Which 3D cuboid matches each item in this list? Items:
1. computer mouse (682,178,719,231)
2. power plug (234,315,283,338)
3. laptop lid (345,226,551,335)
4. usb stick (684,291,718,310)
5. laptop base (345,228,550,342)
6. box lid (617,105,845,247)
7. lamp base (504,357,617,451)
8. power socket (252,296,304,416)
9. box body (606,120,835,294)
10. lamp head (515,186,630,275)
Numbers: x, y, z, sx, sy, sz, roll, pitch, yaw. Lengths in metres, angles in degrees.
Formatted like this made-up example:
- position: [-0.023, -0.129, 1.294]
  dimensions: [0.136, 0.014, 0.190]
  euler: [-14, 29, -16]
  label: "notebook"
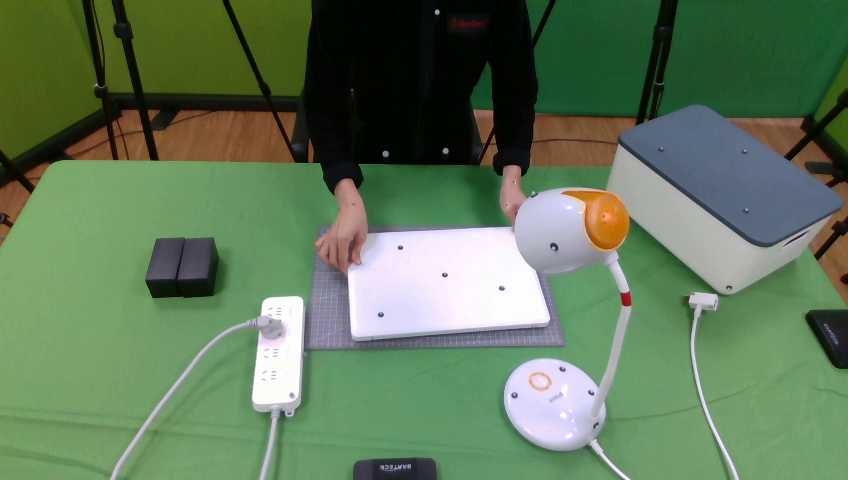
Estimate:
- position: [0.596, -0.078, 1.290]
  dimensions: [0.117, 0.041, 0.062]
  euler: [56, 45, -7]
  label: "computer mouse"
- position: [-0.270, 0.142, 1.000]
  dimensions: [0.072, 0.053, 0.035]
  euler: [6, 47, 2]
  label: "power plug"
- position: [0.036, 0.066, 1.112]
  dimensions: [0.357, 0.013, 0.240]
  euler: [-2, 48, -7]
  label: "laptop lid"
- position: [0.509, 0.111, 1.121]
  dimensions: [0.059, 0.021, 0.027]
  euler: [6, 54, 46]
  label: "usb stick"
- position: [0.036, 0.076, 1.119]
  dimensions: [0.355, 0.023, 0.234]
  euler: [-3, 47, -8]
  label: "laptop base"
- position: [0.586, -0.138, 1.176]
  dimensions: [0.263, 0.015, 0.369]
  euler: [-22, 51, -23]
  label: "box lid"
- position: [0.220, 0.211, 0.902]
  dimensions: [0.160, 0.181, 0.178]
  euler: [-33, 59, -30]
  label: "lamp base"
- position: [-0.238, 0.181, 0.997]
  dimensions: [0.072, 0.033, 0.225]
  euler: [-3, 47, -5]
  label: "power socket"
- position: [0.582, -0.088, 1.230]
  dimensions: [0.254, 0.161, 0.361]
  euler: [-22, 52, -23]
  label: "box body"
- position: [0.188, -0.013, 0.728]
  dimensions: [0.112, 0.112, 0.122]
  euler: [-25, 9, -25]
  label: "lamp head"
